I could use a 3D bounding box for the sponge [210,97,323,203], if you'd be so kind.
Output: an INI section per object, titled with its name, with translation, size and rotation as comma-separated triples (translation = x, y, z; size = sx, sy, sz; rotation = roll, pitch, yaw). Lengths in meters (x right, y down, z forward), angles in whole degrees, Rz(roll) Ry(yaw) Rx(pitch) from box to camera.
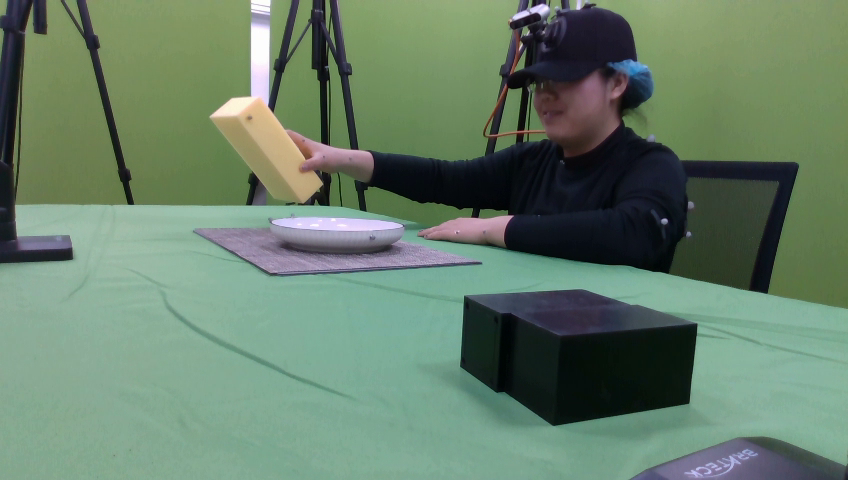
[sponge]
translation = -0.299, -0.170, 1.158
size = 0.117, 0.207, 0.061
rotation = 13, 55, 46

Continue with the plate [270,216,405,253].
[plate]
translation = -0.134, -0.009, 0.946
size = 0.208, 0.039, 0.207
rotation = 3, 7, 0
